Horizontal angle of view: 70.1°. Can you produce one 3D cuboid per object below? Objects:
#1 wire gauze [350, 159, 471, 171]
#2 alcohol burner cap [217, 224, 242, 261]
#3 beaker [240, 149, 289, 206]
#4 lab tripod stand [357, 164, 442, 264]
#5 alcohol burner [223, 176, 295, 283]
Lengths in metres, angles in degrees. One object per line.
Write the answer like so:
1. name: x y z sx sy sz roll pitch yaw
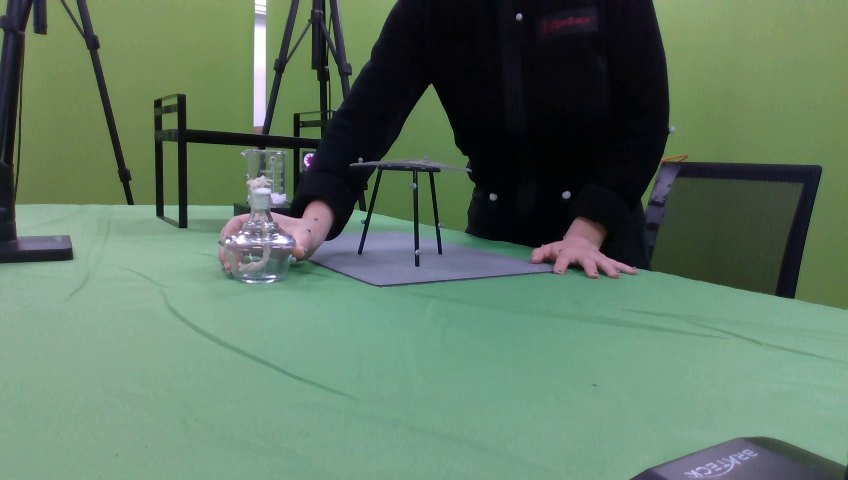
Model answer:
1. wire gauze: -0.019 -0.106 0.846 0.121 0.011 0.126 8 8 42
2. alcohol burner cap: -0.263 0.002 0.823 0.034 0.048 0.034 5 9 0
3. beaker: -0.286 -0.112 1.085 0.084 0.100 0.073 -1 8 -23
4. lab tripod stand: -0.023 -0.041 0.858 0.148 0.131 0.148 3 5 0
5. alcohol burner: -0.184 -0.012 0.676 0.078 0.119 0.078 1 10 0
